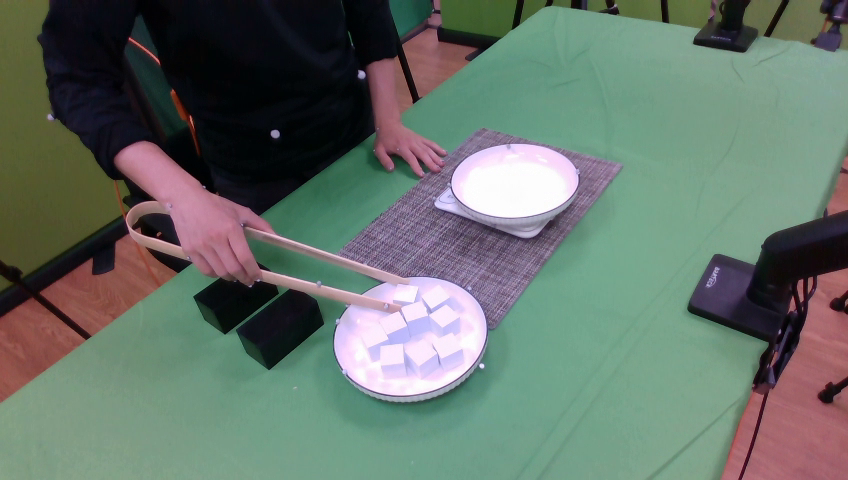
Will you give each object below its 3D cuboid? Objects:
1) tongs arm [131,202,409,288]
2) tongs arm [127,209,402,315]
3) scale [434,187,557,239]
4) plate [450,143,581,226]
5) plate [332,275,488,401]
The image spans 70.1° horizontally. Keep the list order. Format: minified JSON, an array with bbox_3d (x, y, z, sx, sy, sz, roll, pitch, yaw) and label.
[{"bbox_3d":[-0.208,0.009,0.840,0.388,0.028,0.028,16,60,-4],"label":"tongs arm"},{"bbox_3d":[-0.215,0.032,0.823,0.386,0.026,0.050,14,56,-5],"label":"tongs arm"},{"bbox_3d":[0.132,-0.075,1.025,0.199,0.032,0.149,22,49,30],"label":"scale"},{"bbox_3d":[0.148,-0.087,0.986,0.209,0.038,0.208,-4,41,4],"label":"plate"},{"bbox_3d":[-0.017,0.131,0.808,0.207,0.039,0.206,-4,41,4],"label":"plate"}]
